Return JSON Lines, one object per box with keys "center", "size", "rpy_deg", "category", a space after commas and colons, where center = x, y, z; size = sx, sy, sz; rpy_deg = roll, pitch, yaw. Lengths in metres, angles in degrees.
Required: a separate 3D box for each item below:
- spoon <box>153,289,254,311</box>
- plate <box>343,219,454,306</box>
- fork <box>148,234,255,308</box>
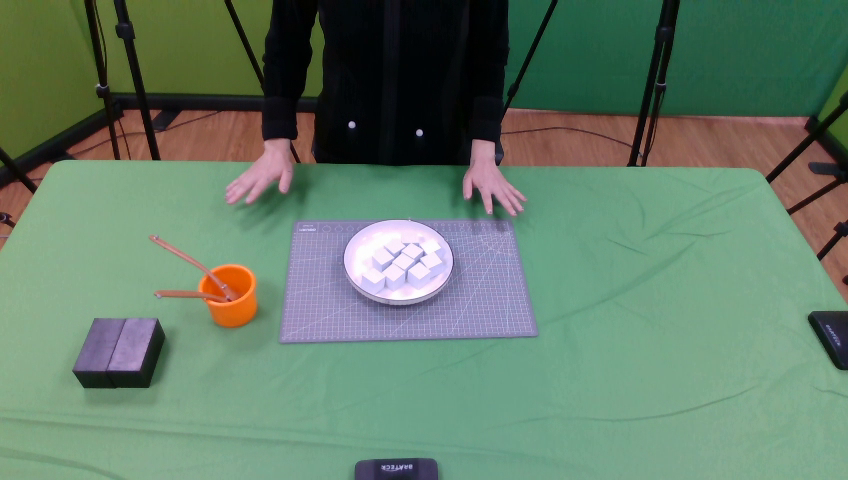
{"center": [-0.355, 0.094, 0.990], "size": [0.021, 0.195, 0.041], "rpy_deg": [-49, 59, 11], "category": "spoon"}
{"center": [-0.047, 0.045, 1.136], "size": [0.208, 0.039, 0.206], "rpy_deg": [2, 46, -2], "category": "plate"}
{"center": [-0.372, 0.054, 1.020], "size": [0.208, 0.018, 0.028], "rpy_deg": [43, 22, -22], "category": "fork"}
